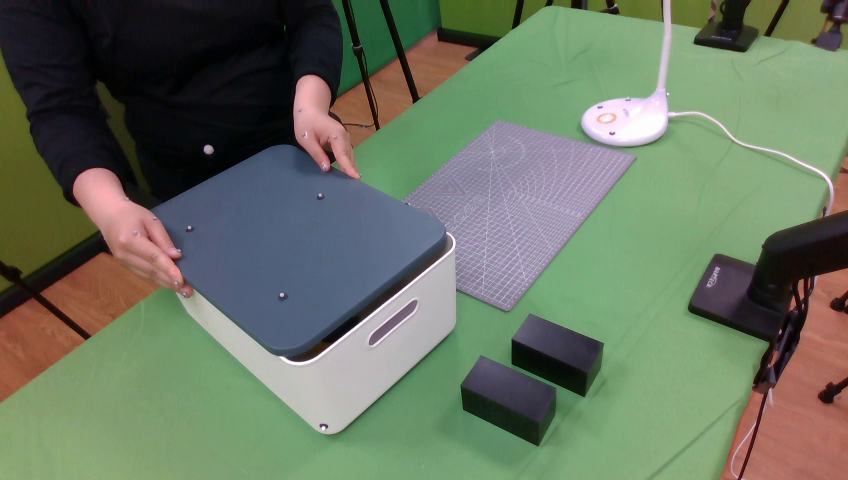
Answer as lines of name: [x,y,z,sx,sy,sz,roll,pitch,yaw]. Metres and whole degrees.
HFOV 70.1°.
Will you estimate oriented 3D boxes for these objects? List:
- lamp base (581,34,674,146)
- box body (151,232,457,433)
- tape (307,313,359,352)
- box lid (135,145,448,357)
lamp base: [0.392,-0.291,1.129,0.180,0.181,0.159,-11,41,-8]
box body: [-0.158,0.054,0.820,0.361,0.161,0.255,29,52,34]
tape: [-0.150,0.098,0.843,0.117,0.053,0.116,-4,41,4]
box lid: [-0.177,-0.011,0.777,0.368,0.015,0.264,28,52,35]
